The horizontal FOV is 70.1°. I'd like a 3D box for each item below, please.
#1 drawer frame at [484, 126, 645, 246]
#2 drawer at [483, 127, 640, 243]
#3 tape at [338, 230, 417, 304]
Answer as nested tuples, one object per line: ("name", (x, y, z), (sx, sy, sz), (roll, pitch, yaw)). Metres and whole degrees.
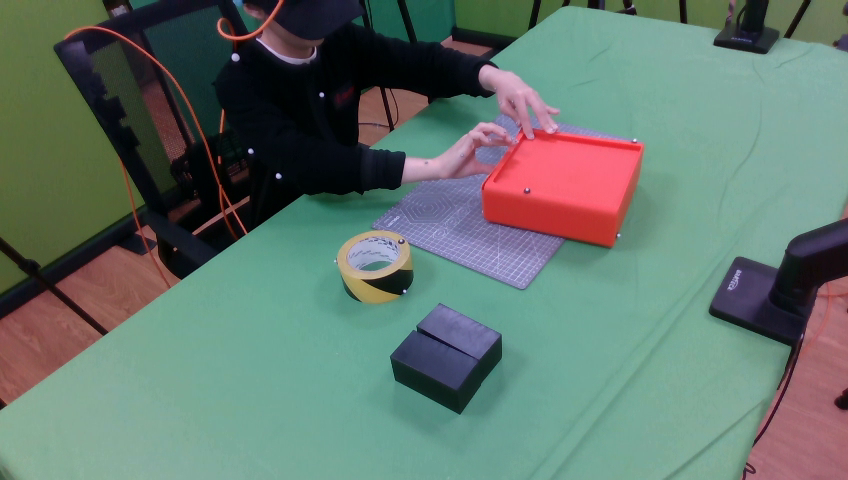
("drawer frame", (0.234, -0.096, 1.004), (0.212, 0.083, 0.202), (13, 44, 22))
("drawer", (0.229, -0.097, 1.006), (0.210, 0.073, 0.194), (14, 44, 23))
("tape", (-0.069, 0.041, 0.917), (0.117, 0.053, 0.116), (-4, 41, 4))
